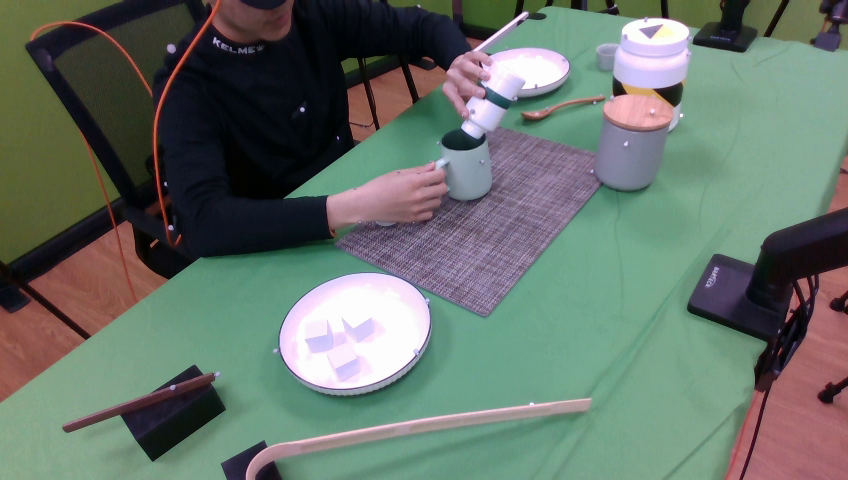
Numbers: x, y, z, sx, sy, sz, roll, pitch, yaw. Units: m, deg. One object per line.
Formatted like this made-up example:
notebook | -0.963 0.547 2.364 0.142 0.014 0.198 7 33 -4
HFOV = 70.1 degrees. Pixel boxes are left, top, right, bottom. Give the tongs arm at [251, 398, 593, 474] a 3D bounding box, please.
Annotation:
tongs arm | 0.008 0.212 0.675 0.389 0.028 0.028 -5 46 -11

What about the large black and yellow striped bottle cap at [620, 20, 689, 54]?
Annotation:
large black and yellow striped bottle cap | 0.411 -0.363 1.079 0.115 0.019 0.114 -3 42 4

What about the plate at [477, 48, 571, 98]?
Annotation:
plate | 0.223 -0.371 1.357 0.209 0.038 0.208 -4 41 4

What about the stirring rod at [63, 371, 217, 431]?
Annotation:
stirring rod | -0.337 0.192 0.723 0.177 0.014 0.005 -18 42 -12

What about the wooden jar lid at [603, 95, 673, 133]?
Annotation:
wooden jar lid | 0.343 -0.200 0.974 0.108 0.021 0.108 -2 39 2

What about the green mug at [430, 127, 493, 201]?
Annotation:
green mug | 0.059 -0.121 1.034 0.126 0.105 0.091 -35 48 -28

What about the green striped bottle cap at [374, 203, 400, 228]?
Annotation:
green striped bottle cap | -0.063 -0.042 1.030 0.044 0.020 0.044 -1 45 2

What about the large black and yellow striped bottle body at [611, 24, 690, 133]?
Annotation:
large black and yellow striped bottle body | 0.420 -0.299 1.132 0.131 0.185 0.130 -5 40 4

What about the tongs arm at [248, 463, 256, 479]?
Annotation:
tongs arm | 0.012 0.262 0.615 0.385 0.026 0.050 2 41 -2

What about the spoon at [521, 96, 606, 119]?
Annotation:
spoon | 0.291 -0.277 1.249 0.194 0.022 0.041 -18 22 -11

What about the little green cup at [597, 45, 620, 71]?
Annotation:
little green cup | 0.423 -0.413 1.376 0.061 0.039 0.061 -4 41 4

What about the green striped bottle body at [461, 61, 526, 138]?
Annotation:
green striped bottle body | 0.109 -0.227 0.992 0.063 0.119 0.063 30 19 -11

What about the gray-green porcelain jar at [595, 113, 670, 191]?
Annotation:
gray-green porcelain jar | 0.346 -0.155 1.017 0.106 0.127 0.105 -2 44 2

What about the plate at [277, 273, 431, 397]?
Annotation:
plate | -0.091 0.129 0.821 0.207 0.039 0.206 -4 40 4
